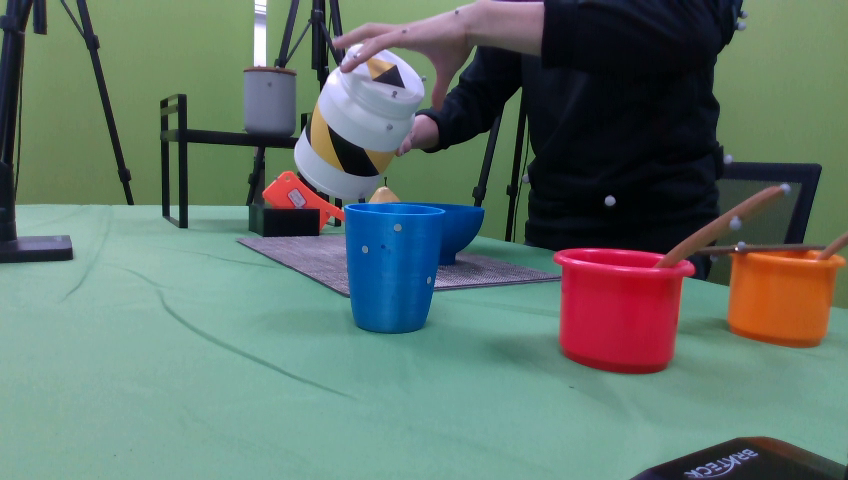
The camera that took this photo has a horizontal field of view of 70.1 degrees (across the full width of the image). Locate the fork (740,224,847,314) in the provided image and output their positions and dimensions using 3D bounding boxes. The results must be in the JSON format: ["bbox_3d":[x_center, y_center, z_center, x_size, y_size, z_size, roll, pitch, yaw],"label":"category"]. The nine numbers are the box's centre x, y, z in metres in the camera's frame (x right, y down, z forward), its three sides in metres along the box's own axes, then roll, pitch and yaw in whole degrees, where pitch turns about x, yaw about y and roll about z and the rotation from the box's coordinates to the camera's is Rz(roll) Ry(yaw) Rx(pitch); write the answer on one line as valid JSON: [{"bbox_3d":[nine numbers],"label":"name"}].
[{"bbox_3d":[0.323,0.013,0.485,0.028,0.018,0.207,9,-38,-5],"label":"fork"}]

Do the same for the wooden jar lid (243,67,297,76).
[{"bbox_3d":[-0.319,-0.342,1.254,0.108,0.020,0.108,3,8,0],"label":"wooden jar lid"}]

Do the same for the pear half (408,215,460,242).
[{"bbox_3d":[0.011,-0.019,0.848,0.070,0.031,0.088,4,11,33],"label":"pear half"}]

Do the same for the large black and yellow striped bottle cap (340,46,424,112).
[{"bbox_3d":[-0.054,-0.215,0.801,0.115,0.019,0.114,20,41,-18],"label":"large black and yellow striped bottle cap"}]

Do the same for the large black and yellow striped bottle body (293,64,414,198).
[{"bbox_3d":[-0.095,-0.163,0.855,0.131,0.183,0.130,21,42,-19],"label":"large black and yellow striped bottle body"}]

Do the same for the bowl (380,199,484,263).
[{"bbox_3d":[0.007,-0.012,0.842,0.151,0.077,0.151,3,8,0],"label":"bowl"}]

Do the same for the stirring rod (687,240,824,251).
[{"bbox_3d":[0.289,0.004,0.525,0.177,0.006,0.014,-1,7,-26],"label":"stirring rod"}]

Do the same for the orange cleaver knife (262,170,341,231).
[{"bbox_3d":[-0.201,-0.057,1.136,0.212,0.077,0.012,31,-3,-31],"label":"orange cleaver knife"}]

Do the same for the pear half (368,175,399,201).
[{"bbox_3d":[-0.064,-0.061,1.077,0.055,0.110,0.077,9,13,39],"label":"pear half"}]

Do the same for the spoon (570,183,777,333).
[{"bbox_3d":[0.160,0.020,0.413,0.042,0.021,0.193,1,-36,-24],"label":"spoon"}]

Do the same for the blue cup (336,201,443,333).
[{"bbox_3d":[-0.029,0.021,0.507,0.093,0.100,0.092,3,9,0],"label":"blue cup"}]

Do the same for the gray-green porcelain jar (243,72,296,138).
[{"bbox_3d":[-0.322,-0.279,1.263,0.106,0.126,0.106,3,8,0],"label":"gray-green porcelain jar"}]
